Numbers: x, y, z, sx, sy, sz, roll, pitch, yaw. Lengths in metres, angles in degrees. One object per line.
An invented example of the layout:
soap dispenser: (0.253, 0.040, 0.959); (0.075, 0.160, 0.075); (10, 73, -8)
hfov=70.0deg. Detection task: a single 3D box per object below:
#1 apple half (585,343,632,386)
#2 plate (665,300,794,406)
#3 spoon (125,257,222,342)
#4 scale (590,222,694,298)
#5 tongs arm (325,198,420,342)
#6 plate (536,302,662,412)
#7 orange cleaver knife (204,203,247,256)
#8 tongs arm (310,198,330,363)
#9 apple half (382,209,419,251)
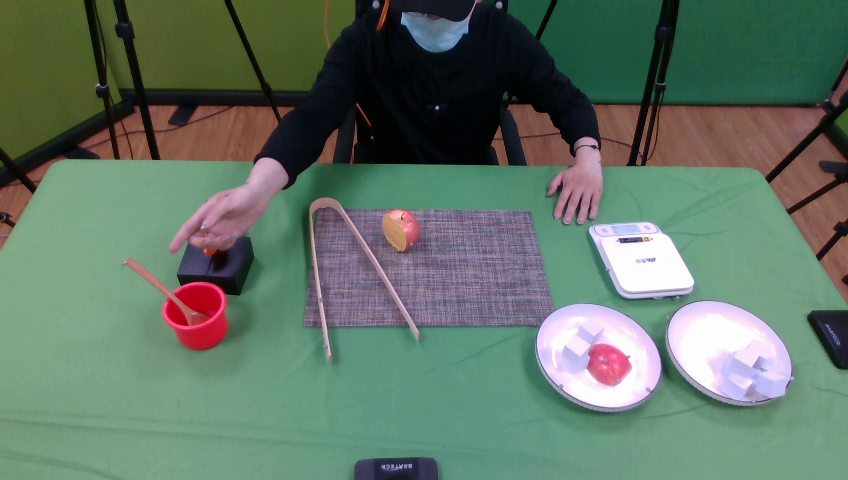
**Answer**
apple half: (0.309, 0.198, 1.008); (0.081, 0.033, 0.081); (4, 48, -4)
plate: (0.513, 0.194, 1.034); (0.208, 0.039, 0.206); (2, 46, -2)
spoon: (-0.408, 0.096, 0.990); (0.194, 0.021, 0.041); (50, 53, -18)
scale: (0.424, 0.031, 1.189); (0.149, 0.032, 0.199); (-3, 46, -7)
tongs arm: (-0.102, 0.043, 1.140); (0.028, 0.028, 0.385); (-22, 51, -18)
plate: (0.288, 0.197, 1.016); (0.209, 0.038, 0.208); (2, 46, -2)
orange cleaver knife: (-0.374, -0.024, 1.146); (0.012, 0.077, 0.211); (4, 14, 1)
tongs arm: (-0.180, 0.058, 1.117); (0.051, 0.026, 0.382); (-9, 47, -11)
apple half: (-0.039, -0.022, 1.175); (0.053, 0.075, 0.080); (-27, 49, -31)
